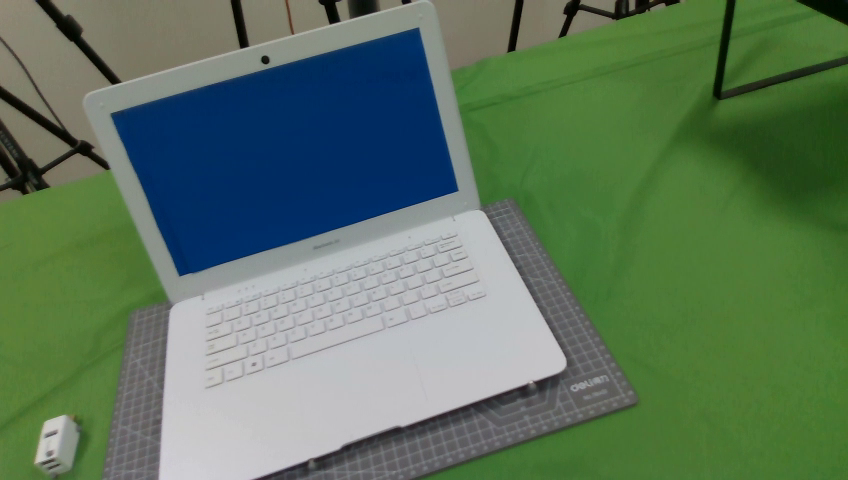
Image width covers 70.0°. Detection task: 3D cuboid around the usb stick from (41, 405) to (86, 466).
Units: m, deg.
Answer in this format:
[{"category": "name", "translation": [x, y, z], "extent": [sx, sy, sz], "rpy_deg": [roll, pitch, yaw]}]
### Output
[{"category": "usb stick", "translation": [-0.326, 0.172, 0.552], "extent": [0.021, 0.027, 0.058], "rpy_deg": [-20, 39, -1]}]

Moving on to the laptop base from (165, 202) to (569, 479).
[{"category": "laptop base", "translation": [-0.069, 0.086, 0.585], "extent": [0.354, 0.023, 0.232], "rpy_deg": [-18, 45, -5]}]

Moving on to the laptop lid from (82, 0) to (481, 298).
[{"category": "laptop lid", "translation": [-0.131, -0.091, 0.629], "extent": [0.357, 0.243, 0.013], "rpy_deg": [-19, 21, -5]}]
